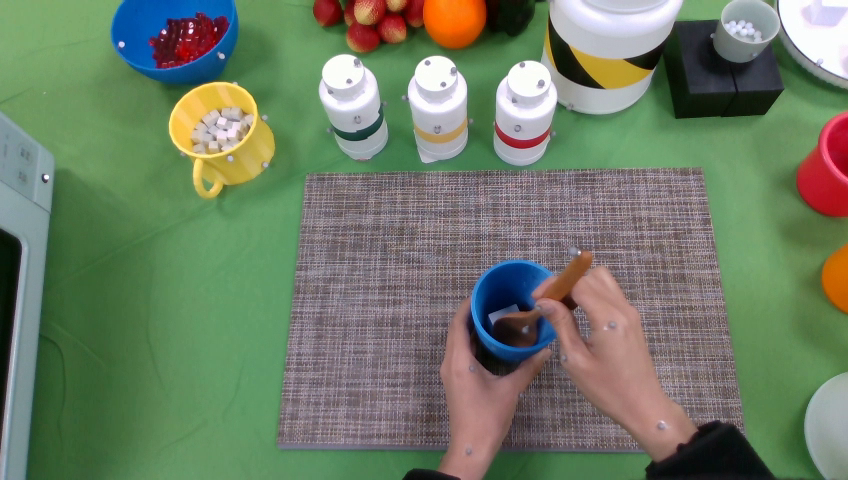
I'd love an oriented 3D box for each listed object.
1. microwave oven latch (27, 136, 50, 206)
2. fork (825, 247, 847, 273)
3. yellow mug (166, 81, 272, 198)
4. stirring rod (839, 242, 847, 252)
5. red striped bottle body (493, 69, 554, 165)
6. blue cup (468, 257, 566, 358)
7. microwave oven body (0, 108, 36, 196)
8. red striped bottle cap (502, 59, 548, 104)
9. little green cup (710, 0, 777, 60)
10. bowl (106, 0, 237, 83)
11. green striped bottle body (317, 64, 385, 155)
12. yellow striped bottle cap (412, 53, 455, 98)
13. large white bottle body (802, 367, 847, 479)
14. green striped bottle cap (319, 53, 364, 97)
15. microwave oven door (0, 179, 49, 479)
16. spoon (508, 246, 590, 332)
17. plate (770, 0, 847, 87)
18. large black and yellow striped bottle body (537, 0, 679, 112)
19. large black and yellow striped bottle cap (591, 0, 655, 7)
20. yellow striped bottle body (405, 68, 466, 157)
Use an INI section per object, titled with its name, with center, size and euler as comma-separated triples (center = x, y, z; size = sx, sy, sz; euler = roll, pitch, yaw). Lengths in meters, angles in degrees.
[microwave oven latch]
center = -0.448, -0.077, 0.690
size = 0.030, 0.030, 0.078
euler = -8, 69, 1
[fork]
center = 0.467, 0.041, 0.541
size = 0.028, 0.019, 0.205
euler = -35, 26, -15
[yellow mug]
center = -0.237, -0.110, 0.694
size = 0.100, 0.064, 0.130
euler = 9, 69, 7
[stirring rod]
center = 0.439, 0.040, 0.549
size = 0.014, 0.006, 0.174
euler = -7, 25, 0
[red striped bottle body]
center = 0.107, -0.138, 0.653
size = 0.063, 0.120, 0.062
euler = -3, 66, 7
[blue cup]
center = 0.085, 0.073, 0.577
size = 0.092, 0.101, 0.092
euler = -1, 69, 4
[microwave oven body]
center = -0.574, 0.072, 0.535
size = 0.326, 0.262, 0.438
euler = -9, 68, 0
[red striped bottle cap]
center = 0.101, -0.159, 0.605
size = 0.044, 0.018, 0.044
euler = 0, 67, 0
[little green cup]
center = 0.346, -0.230, 0.663
size = 0.061, 0.039, 0.061
euler = -1, 67, 2
[bowl]
center = -0.295, -0.247, 0.746
size = 0.151, 0.077, 0.150
euler = -1, 68, 3
[green striped bottle body]
center = -0.080, -0.150, 0.670
size = 0.063, 0.120, 0.062
euler = -1, 68, 3
[yellow striped bottle cap]
center = 0.010, -0.167, 0.615
size = 0.044, 0.019, 0.044
euler = -1, 69, 3
[large white bottle body]
center = 0.411, 0.148, 0.482
size = 0.130, 0.186, 0.129
euler = -2, 67, 4
[green striped bottle cap]
center = -0.085, -0.169, 0.622
size = 0.044, 0.020, 0.044
euler = -1, 67, 3
[microwave oven door]
center = -0.424, 0.085, 0.515
size = 0.039, 0.245, 0.353
euler = -10, 68, 1
[spoon]
center = 0.091, 0.051, 0.490
size = 0.041, 0.194, 0.021
euler = 30, 65, 3
[plate]
center = 0.515, -0.260, 0.718
size = 0.209, 0.038, 0.207
euler = -1, 69, 3
[large black and yellow striped bottle body]
center = 0.196, -0.241, 0.653
size = 0.131, 0.185, 0.130
euler = -1, 68, 4
[large black and yellow striped bottle cap]
center = 0.189, -0.271, 0.575
size = 0.115, 0.019, 0.114
euler = -2, 67, 4
[yellow striped bottle body]
center = 0.014, -0.147, 0.663
size = 0.063, 0.121, 0.062
euler = -2, 67, 4
